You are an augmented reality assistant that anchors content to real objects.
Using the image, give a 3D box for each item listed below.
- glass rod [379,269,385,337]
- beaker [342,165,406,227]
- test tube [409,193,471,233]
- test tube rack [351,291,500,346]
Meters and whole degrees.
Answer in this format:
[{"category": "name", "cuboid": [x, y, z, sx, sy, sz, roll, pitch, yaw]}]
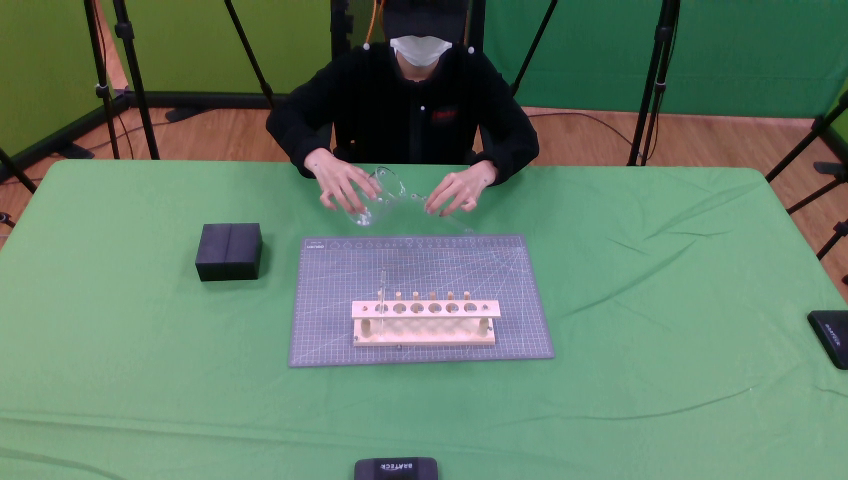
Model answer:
[{"category": "glass rod", "cuboid": [-0.066, 0.104, 0.953, 0.008, 0.200, 0.008, 3, 53, -3]}, {"category": "beaker", "cuboid": [-0.093, -0.076, 1.108, 0.084, 0.100, 0.073, 30, 36, -37]}, {"category": "test tube", "cuboid": [0.033, -0.050, 1.152, 0.151, 0.017, 0.017, 29, 36, -31]}, {"category": "test tube rack", "cuboid": [0.000, 0.129, 1.026, 0.242, 0.085, 0.066, 0, 46, -4]}]
